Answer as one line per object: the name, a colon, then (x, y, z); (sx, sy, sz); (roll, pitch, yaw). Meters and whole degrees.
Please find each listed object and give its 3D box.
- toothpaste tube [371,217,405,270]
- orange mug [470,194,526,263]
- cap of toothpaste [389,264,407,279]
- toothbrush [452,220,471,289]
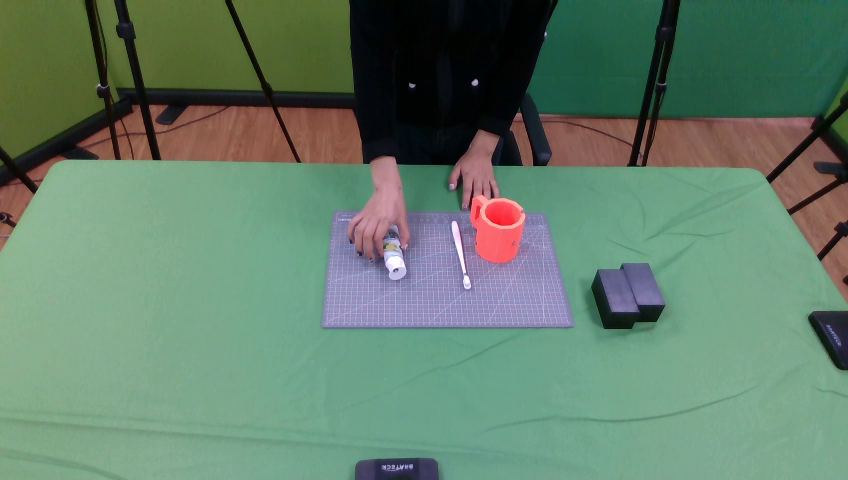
toothpaste tube: (-0.064, 0.006, 1.179); (0.055, 0.035, 0.164); (-3, 40, -13)
orange mug: (0.136, -0.030, 1.180); (0.083, 0.101, 0.125); (-26, 58, -26)
cap of toothpaste: (-0.049, 0.057, 1.118); (0.037, 0.037, 0.011); (-16, 49, -18)
toothbrush: (0.071, 0.024, 1.180); (0.014, 0.017, 0.180); (-14, 45, 5)
